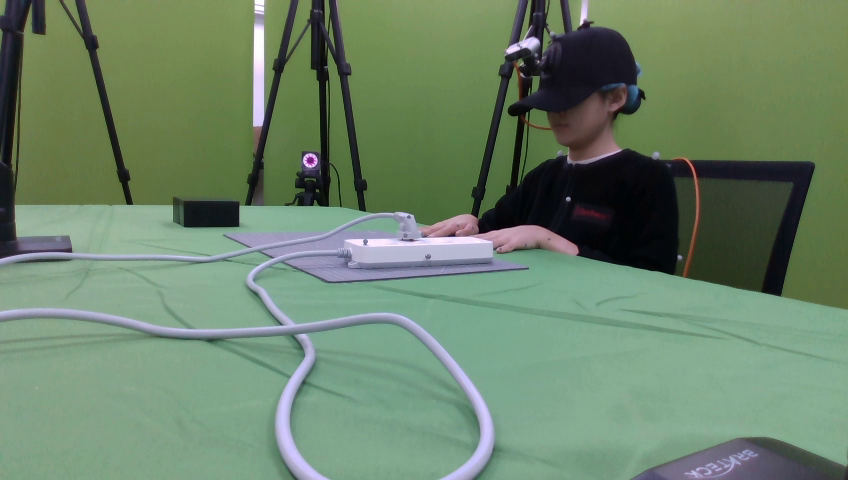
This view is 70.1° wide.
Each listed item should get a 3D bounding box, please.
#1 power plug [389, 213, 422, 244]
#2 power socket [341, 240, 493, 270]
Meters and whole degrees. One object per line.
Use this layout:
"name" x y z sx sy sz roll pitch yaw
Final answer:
"power plug" -0.026 -0.010 0.848 0.035 0.052 0.072 1 9 -17
"power socket" -0.006 0.018 0.831 0.228 0.032 0.072 -1 6 -29
